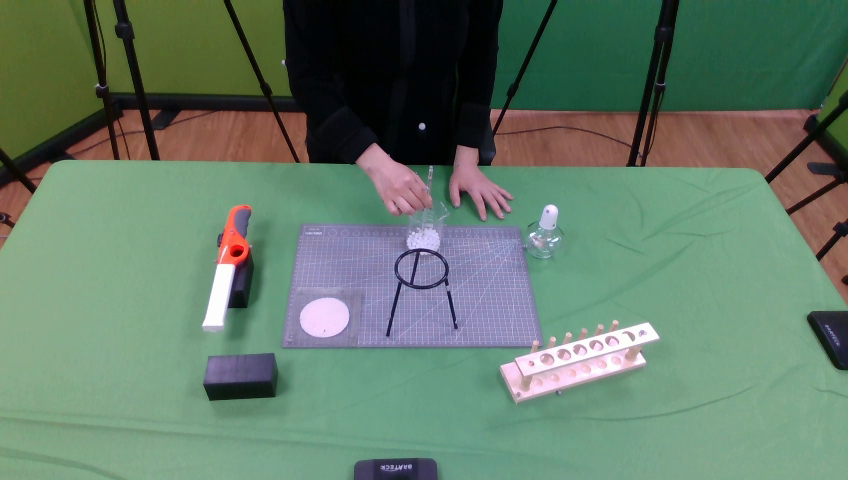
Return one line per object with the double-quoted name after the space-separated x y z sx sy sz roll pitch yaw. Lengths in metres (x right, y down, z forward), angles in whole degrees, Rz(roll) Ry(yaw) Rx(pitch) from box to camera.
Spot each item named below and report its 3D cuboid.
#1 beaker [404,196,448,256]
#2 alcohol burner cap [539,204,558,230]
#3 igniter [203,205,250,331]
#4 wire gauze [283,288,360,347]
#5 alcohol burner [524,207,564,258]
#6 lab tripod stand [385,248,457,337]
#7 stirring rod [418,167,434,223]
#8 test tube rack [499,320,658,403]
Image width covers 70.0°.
0.001 -0.024 1.164 0.084 0.101 0.073 6 46 0 "beaker"
0.238 -0.045 1.148 0.034 0.048 0.033 2 42 -1 "alcohol burner cap"
-0.345 0.039 1.065 0.057 0.025 0.274 2 49 -6 "igniter"
-0.178 0.132 1.063 0.125 0.011 0.120 2 46 1 "wire gauze"
0.236 -0.021 1.174 0.078 0.120 0.077 1 48 -1 "alcohol burner"
-0.010 0.087 1.032 0.148 0.132 0.147 1 45 -1 "lab tripod stand"
0.003 -0.080 1.127 0.014 0.177 0.006 -16 63 -15 "stirring rod"
0.252 0.187 0.994 0.243 0.085 0.066 -12 48 -15 "test tube rack"
